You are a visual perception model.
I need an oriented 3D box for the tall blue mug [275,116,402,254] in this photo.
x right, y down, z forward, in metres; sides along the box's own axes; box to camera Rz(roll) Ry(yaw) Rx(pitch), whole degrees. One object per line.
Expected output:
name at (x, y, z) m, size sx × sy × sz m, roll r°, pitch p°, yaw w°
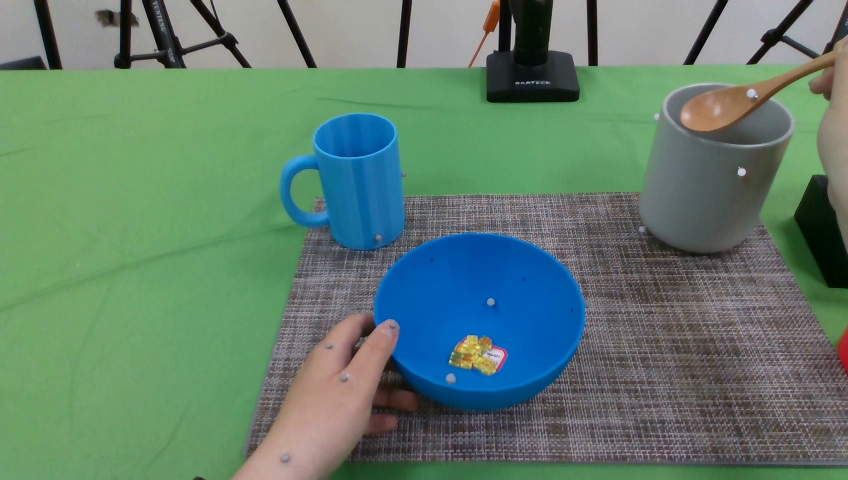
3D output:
tall blue mug at (-0.074, -0.044, 0.567) m, size 0.107 × 0.109 × 0.077 m, roll -32°, pitch 51°, yaw -29°

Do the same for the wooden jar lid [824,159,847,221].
wooden jar lid at (0.409, -0.035, 0.530) m, size 0.108 × 0.021 × 0.107 m, roll -2°, pitch 42°, yaw 2°

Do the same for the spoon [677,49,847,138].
spoon at (0.268, -0.113, 0.420) m, size 0.022 × 0.193 × 0.041 m, roll 32°, pitch 61°, yaw -24°

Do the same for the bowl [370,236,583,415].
bowl at (0.038, 0.075, 0.453) m, size 0.151 × 0.077 × 0.150 m, roll -1°, pitch 42°, yaw 2°

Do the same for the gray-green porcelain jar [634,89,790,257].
gray-green porcelain jar at (0.253, -0.056, 0.551) m, size 0.106 × 0.127 × 0.105 m, roll -1°, pitch 42°, yaw 2°
